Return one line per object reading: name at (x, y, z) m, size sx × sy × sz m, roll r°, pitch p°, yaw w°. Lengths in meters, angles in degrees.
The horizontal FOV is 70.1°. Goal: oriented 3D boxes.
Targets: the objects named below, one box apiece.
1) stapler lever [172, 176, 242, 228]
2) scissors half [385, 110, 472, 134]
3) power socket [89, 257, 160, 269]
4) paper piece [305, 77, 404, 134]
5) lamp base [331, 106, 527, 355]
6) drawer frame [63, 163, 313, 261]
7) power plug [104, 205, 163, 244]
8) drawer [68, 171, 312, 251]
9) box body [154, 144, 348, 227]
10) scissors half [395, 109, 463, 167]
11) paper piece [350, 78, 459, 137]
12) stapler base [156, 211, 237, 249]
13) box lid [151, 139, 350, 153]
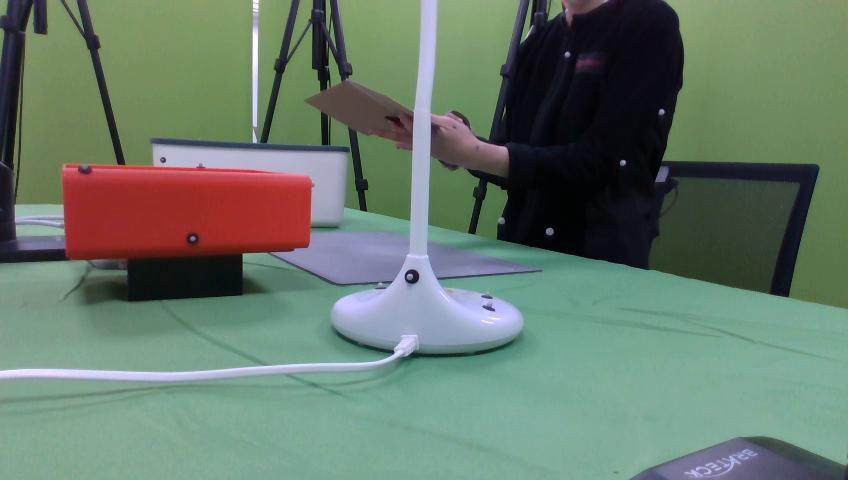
stapler lever at (-0.217, -0.041, 0.618) m, size 0.027 × 0.040 × 0.118 m, roll 18°, pitch 11°, yaw -2°
scissors half at (0.009, -0.195, 0.986) m, size 0.176 × 0.040 × 0.013 m, roll -5°, pitch 6°, yaw -37°
power socket at (-0.409, 0.004, 0.793) m, size 0.072 × 0.032 × 0.225 m, roll -2°, pitch 8°, yaw -38°
paper piece at (-0.105, -0.212, 0.979) m, size 0.136 × 0.004 × 0.134 m, roll 26°, pitch -18°, yaw -36°
lamp base at (0.006, -0.012, 0.478) m, size 0.161 × 0.180 × 0.179 m, roll 2°, pitch 10°, yaw 2°
drawer frame at (-0.248, -0.036, 0.626) m, size 0.215 × 0.082 × 0.200 m, roll -3°, pitch 9°, yaw -31°
power plug at (-0.390, -0.021, 0.815) m, size 0.073 × 0.052 × 0.035 m, roll -1°, pitch 7°, yaw -28°
drawer at (-0.247, -0.036, 0.629) m, size 0.213 × 0.073 × 0.193 m, roll -2°, pitch 9°, yaw -30°
box body at (-0.357, -0.119, 1.264) m, size 0.365 × 0.160 × 0.253 m, roll 0°, pitch 7°, yaw -18°
scissors half at (0.003, -0.172, 0.985) m, size 0.176 × 0.040 × 0.012 m, roll 38°, pitch -16°, yaw -35°
paper piece at (-0.030, -0.190, 0.874) m, size 0.139 × 0.008 × 0.135 m, roll 25°, pitch 8°, yaw -35°
stapler base at (-0.227, -0.017, 0.624) m, size 0.041 × 0.024 × 0.130 m, roll 18°, pitch 10°, yaw -2°
box lid at (-0.352, -0.191, 1.256) m, size 0.373 × 0.015 × 0.262 m, roll 0°, pitch 8°, yaw -18°
